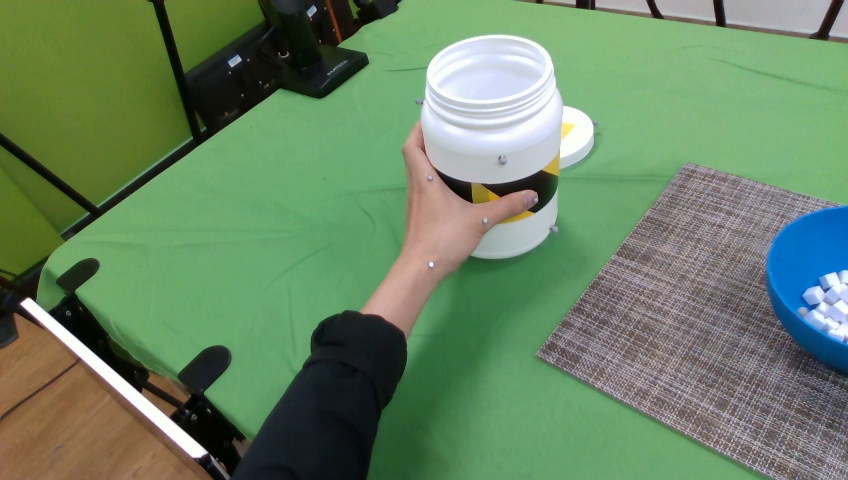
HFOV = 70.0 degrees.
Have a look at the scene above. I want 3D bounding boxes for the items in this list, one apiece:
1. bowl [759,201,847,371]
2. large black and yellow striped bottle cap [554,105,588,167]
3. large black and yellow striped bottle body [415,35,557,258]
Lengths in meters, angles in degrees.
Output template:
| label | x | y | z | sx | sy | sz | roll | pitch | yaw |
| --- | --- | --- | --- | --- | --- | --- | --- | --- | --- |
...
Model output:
| label | x | y | z | sx | sy | sz | roll | pitch | yaw |
| --- | --- | --- | --- | --- | --- | --- | --- | --- | --- |
| bowl | 0.333 | 0.048 | 0.461 | 0.151 | 0.077 | 0.150 | -8 | 44 | 8 |
| large black and yellow striped bottle cap | 0.144 | -0.129 | 0.747 | 0.115 | 0.019 | 0.114 | -7 | 45 | 7 |
| large black and yellow striped bottle body | 0.062 | -0.087 | 0.587 | 0.130 | 0.186 | 0.129 | -5 | 47 | 5 |
